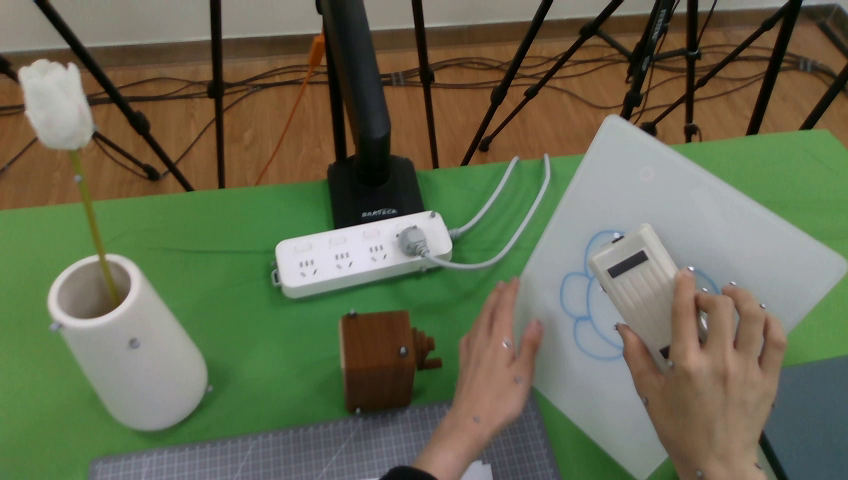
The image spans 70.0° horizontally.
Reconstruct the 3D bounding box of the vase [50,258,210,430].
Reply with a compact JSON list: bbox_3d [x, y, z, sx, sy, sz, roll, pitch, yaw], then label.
[{"bbox_3d":[-0.266,0.100,0.557,0.098,0.201,0.097,2,53,-2],"label":"vase"}]

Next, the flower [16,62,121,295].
[{"bbox_3d":[-0.258,0.035,0.503,0.038,0.364,0.043,-16,38,-25],"label":"flower"}]

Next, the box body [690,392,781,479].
[{"bbox_3d":[0.421,0.288,0.496,0.255,0.161,0.360,-7,54,-10],"label":"box body"}]

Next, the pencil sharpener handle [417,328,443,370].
[{"bbox_3d":[0.007,0.112,0.614,0.031,0.068,0.035,-5,53,-9],"label":"pencil sharpener handle"}]

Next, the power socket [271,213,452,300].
[{"bbox_3d":[-0.072,0.018,0.739,0.227,0.033,0.071,-12,56,-14],"label":"power socket"}]

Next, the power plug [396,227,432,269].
[{"bbox_3d":[-0.013,0.016,0.717,0.035,0.053,0.072,-4,55,-7],"label":"power plug"}]

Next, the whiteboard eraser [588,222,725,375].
[{"bbox_3d":[0.181,0.045,0.477,0.055,0.042,0.112,-34,84,19],"label":"whiteboard eraser"}]

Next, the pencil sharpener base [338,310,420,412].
[{"bbox_3d":[-0.045,0.124,0.615,0.077,0.108,0.060,-5,53,-9],"label":"pencil sharpener base"}]

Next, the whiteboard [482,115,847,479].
[{"bbox_3d":[0.232,0.049,0.610,0.215,0.307,0.144,40,41,24],"label":"whiteboard"}]

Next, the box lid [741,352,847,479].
[{"bbox_3d":[0.426,0.241,0.438,0.264,0.015,0.367,-7,54,-11],"label":"box lid"}]
